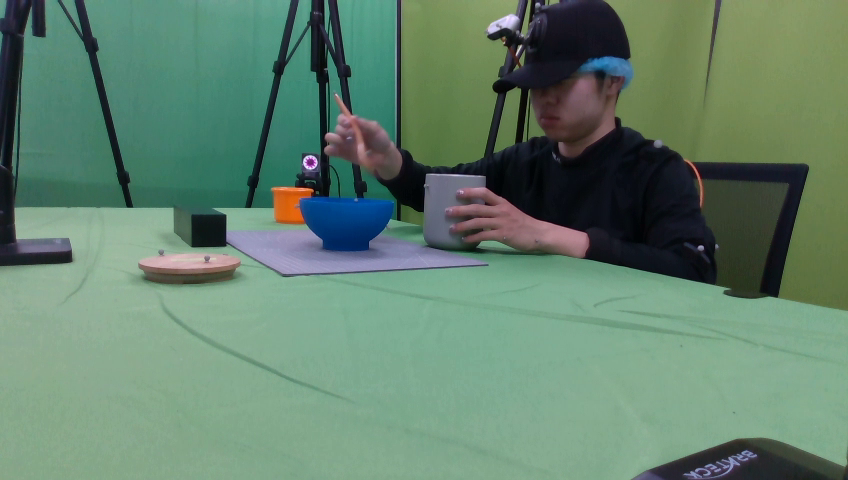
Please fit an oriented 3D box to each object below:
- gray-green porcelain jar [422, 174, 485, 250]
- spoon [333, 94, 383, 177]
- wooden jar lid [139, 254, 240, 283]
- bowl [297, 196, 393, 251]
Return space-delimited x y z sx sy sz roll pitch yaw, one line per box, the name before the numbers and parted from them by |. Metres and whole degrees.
gray-green porcelain jar | 0.050 -0.049 1.040 0.106 0.126 0.106 2 8 0
spoon | -0.113 -0.178 1.015 0.021 0.193 0.042 -29 -27 7
wooden jar lid | -0.269 0.033 0.698 0.108 0.020 0.108 2 5 0
bowl | -0.125 -0.026 0.957 0.151 0.077 0.151 2 7 0
